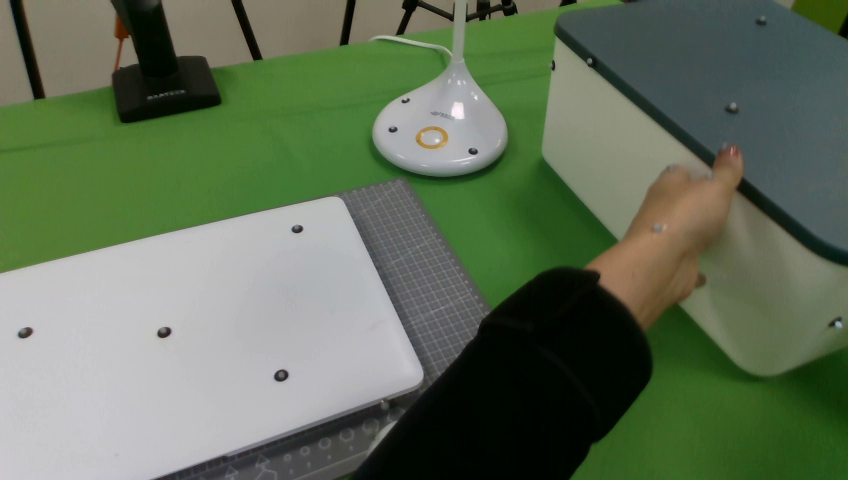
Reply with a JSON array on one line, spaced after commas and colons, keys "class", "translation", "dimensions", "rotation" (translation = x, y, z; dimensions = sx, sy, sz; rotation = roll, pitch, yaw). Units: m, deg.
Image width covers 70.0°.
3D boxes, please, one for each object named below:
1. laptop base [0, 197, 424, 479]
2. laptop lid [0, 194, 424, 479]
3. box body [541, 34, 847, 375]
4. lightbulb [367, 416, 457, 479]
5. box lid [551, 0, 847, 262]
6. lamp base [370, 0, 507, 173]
[{"class": "laptop base", "translation": [-0.203, 0.081, 0.491], "dimensions": [0.355, 0.023, 0.233], "rotation": [-15, 50, -17]}, {"class": "laptop lid", "translation": [-0.202, 0.074, 0.481], "dimensions": [0.357, 0.013, 0.239], "rotation": [-14, 49, -16]}, {"class": "box body", "translation": [0.302, -0.077, 0.572], "dimensions": [0.255, 0.162, 0.359], "rotation": [-16, 47, -18]}, {"class": "lightbulb", "translation": [-0.001, 0.168, 0.391], "dimensions": [0.059, 0.060, 0.106], "rotation": [-12, 62, -14]}, {"class": "box lid", "translation": [0.304, -0.132, 0.521], "dimensions": [0.264, 0.015, 0.367], "rotation": [-15, 47, -18]}, {"class": "lamp base", "translation": [0.021, -0.194, 0.667], "dimensions": [0.160, 0.182, 0.178], "rotation": [9, 42, 7]}]
